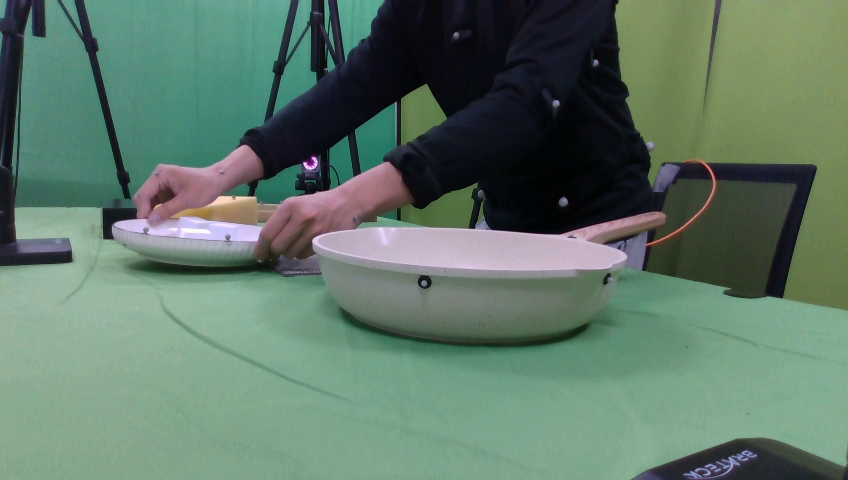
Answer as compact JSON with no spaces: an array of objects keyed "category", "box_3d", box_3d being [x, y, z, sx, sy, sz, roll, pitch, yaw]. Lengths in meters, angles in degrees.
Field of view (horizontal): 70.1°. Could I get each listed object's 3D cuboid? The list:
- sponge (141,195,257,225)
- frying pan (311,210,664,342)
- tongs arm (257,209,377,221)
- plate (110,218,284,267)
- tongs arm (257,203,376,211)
[{"category":"sponge","box_3d":[-0.380,-0.040,1.047,0.118,0.061,0.207,1,9,3]},{"category":"frying pan","box_3d":[0.120,0.011,0.643,0.490,0.102,0.305,-14,16,-37]},{"category":"tongs arm","box_3d":[-0.280,-0.056,1.354,0.389,0.028,0.028,-1,5,-28]},{"category":"plate","box_3d":[-0.288,0.003,0.780,0.208,0.039,0.207,6,6,0]},{"category":"tongs arm","box_3d":[-0.306,-0.070,1.429,0.386,0.026,0.050,2,8,-15]}]
